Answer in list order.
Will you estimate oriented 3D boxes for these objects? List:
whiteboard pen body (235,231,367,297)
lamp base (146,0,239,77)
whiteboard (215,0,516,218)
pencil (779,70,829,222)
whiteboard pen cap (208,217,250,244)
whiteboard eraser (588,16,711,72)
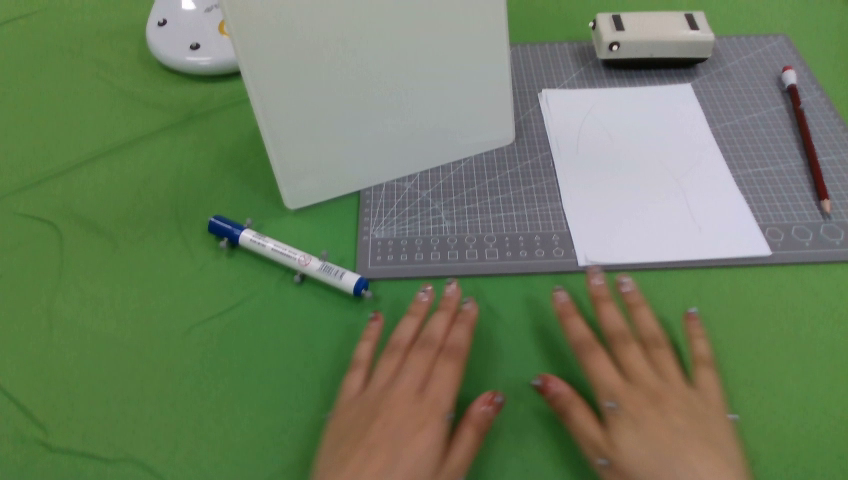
[{"bbox_3d":[-0.107,0.014,0.477,0.140,0.017,0.017,21,55,18],"label":"whiteboard pen body"},{"bbox_3d":[-0.234,-0.286,0.611,0.177,0.182,0.160,32,59,26],"label":"lamp base"},{"bbox_3d":[-0.060,-0.210,0.506,0.217,0.308,0.142,-18,34,-11],"label":"whiteboard"},{"bbox_3d":[0.345,-0.091,0.550,0.012,0.012,0.192,6,54,7],"label":"pencil"},{"bbox_3d":[-0.159,-0.007,0.495,0.033,0.018,0.018,20,55,20],"label":"whiteboard pen cap"},{"bbox_3d":[0.228,-0.199,0.618,0.113,0.042,0.055,0,53,2],"label":"whiteboard eraser"}]
